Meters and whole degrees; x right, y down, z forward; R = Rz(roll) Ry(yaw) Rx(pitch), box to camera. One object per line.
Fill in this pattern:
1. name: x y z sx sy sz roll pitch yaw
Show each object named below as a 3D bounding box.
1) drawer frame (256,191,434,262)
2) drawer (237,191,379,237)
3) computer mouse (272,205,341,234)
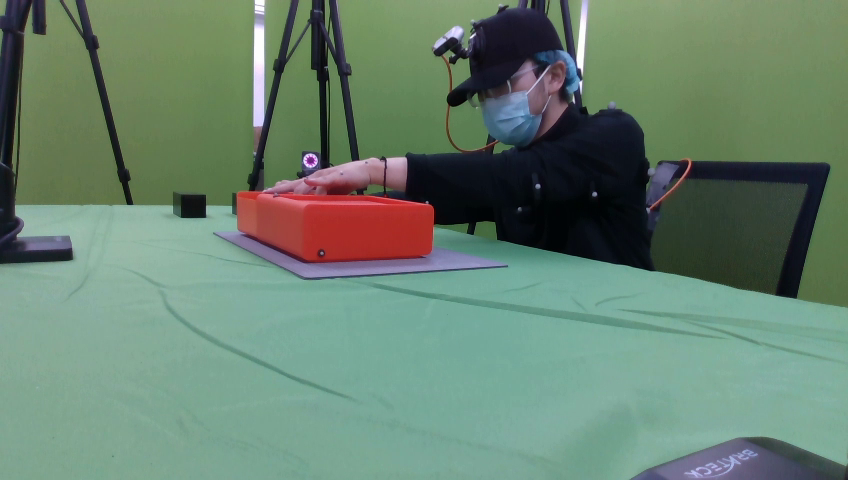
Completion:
1. drawer frame: -0.125 -0.026 0.910 0.203 0.082 0.212 -1 9 -32
2. drawer: -0.186 -0.040 1.006 0.195 0.073 0.210 -1 8 -32
3. computer mouse: -0.204 -0.036 1.049 0.117 0.041 0.062 -10 9 -7
